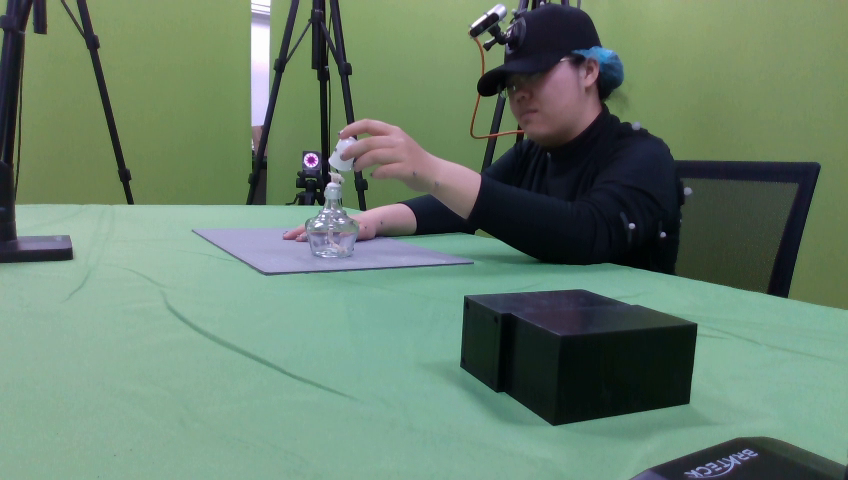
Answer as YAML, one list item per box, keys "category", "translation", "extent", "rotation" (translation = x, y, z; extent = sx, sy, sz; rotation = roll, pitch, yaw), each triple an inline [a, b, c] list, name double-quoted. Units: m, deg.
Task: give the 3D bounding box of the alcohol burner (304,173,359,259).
- category: "alcohol burner"
  translation: [-0.130, -0.034, 0.851]
  extent: [0.078, 0.119, 0.078]
  rotation: [2, 5, 0]

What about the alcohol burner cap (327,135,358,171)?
- category: "alcohol burner cap"
  translation: [-0.108, -0.121, 0.823]
  extent: [0.034, 0.048, 0.034]
  rotation: [22, 31, -14]
